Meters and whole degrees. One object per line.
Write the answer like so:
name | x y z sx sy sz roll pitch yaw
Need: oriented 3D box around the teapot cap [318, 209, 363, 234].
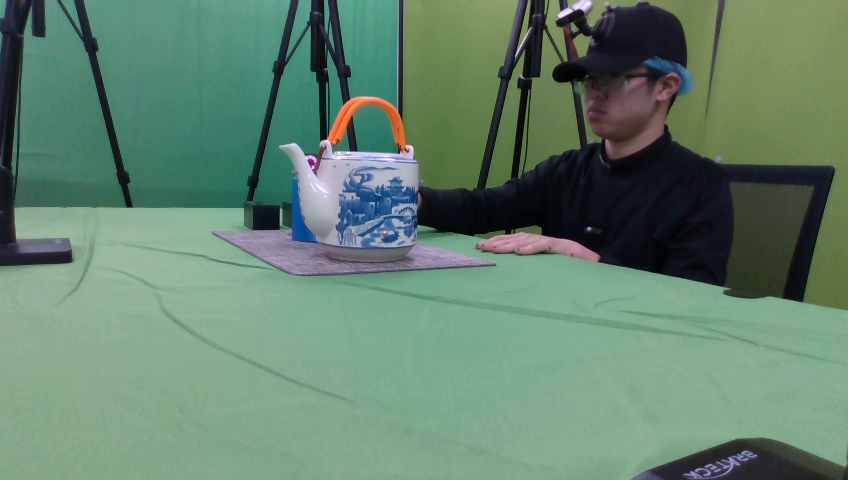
teapot cap | -0.158 -0.036 1.144 0.085 0.044 0.085 0 7 0

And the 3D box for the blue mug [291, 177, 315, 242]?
blue mug | -0.169 -0.054 1.037 0.117 0.106 0.082 -2 8 -30

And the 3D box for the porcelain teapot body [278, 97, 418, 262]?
porcelain teapot body | -0.104 -0.086 0.842 0.206 0.225 0.144 -4 10 -38
